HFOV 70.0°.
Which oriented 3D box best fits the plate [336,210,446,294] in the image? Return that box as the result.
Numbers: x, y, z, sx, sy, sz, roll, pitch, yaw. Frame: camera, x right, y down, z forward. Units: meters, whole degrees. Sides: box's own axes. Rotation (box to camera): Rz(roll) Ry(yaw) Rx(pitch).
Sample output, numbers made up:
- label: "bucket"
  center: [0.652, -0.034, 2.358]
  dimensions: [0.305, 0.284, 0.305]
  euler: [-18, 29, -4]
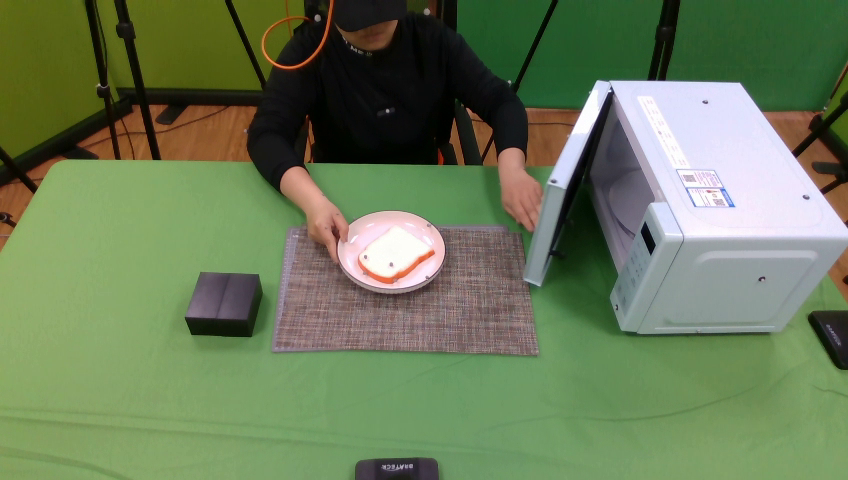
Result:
- label: "plate"
  center: [-0.062, 0.026, 1.153]
  dimensions: [0.209, 0.038, 0.208]
  euler: [3, 46, -2]

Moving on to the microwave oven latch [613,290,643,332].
- label: "microwave oven latch"
  center: [0.357, 0.124, 1.068]
  dimensions: [0.030, 0.029, 0.078]
  euler: [0, 45, -2]

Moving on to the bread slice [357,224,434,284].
- label: "bread slice"
  center: [-0.059, 0.028, 1.153]
  dimensions: [0.104, 0.019, 0.131]
  euler: [34, 53, 26]

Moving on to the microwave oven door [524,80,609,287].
- label: "microwave oven door"
  center: [0.277, -0.116, 1.154]
  dimensions: [0.039, 0.245, 0.354]
  euler: [19, 48, 14]

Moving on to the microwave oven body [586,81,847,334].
- label: "microwave oven body"
  center: [0.501, -0.070, 1.132]
  dimensions: [0.326, 0.261, 0.438]
  euler: [-1, 45, -3]
